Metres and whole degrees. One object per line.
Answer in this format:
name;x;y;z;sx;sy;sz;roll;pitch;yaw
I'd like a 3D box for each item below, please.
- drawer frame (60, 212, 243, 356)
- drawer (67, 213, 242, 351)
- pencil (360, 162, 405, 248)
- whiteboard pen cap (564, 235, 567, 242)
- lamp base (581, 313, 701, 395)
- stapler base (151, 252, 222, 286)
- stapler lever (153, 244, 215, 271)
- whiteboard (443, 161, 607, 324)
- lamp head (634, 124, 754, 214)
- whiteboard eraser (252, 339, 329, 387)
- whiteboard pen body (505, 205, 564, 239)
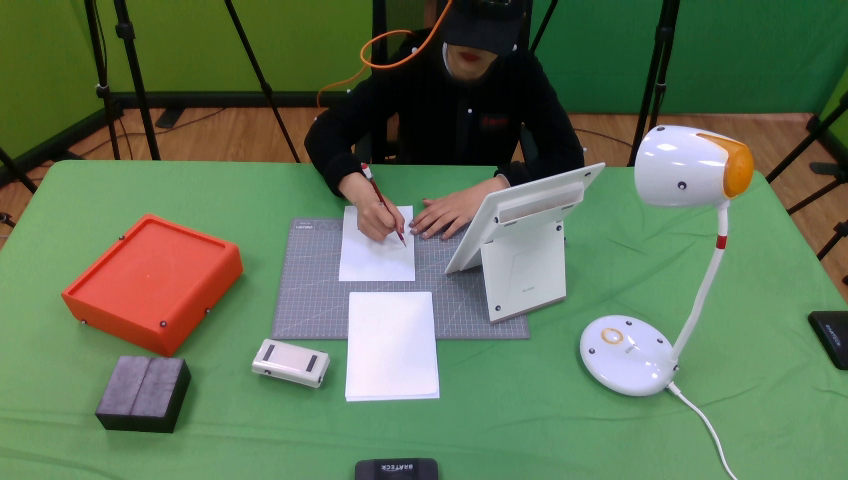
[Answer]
drawer frame;-0.462;0.070;1.053;0.201;0.083;0.213;18;48;12
drawer;-0.461;0.068;1.056;0.194;0.073;0.211;19;48;13
pencil;-0.075;-0.063;1.141;0.012;0.195;0.012;-20;27;11
whiteboard pen cap;0.271;-0.008;1.225;0.033;0.018;0.018;34;53;23
lamp base;0.361;0.144;0.973;0.178;0.181;0.160;34;53;23
stapler base;-0.432;0.047;1.102;0.130;0.024;0.041;16;33;12
stapler lever;-0.430;0.025;1.088;0.118;0.040;0.027;16;33;12
whiteboard;0.185;0.026;1.028;0.217;0.306;0.143;-15;68;-18
lamp head;0.351;-0.089;0.776;0.112;0.113;0.122;-30;30;-28
whiteboard eraser;-0.215;0.199;0.976;0.112;0.042;0.055;12;45;7
whiteboard pen body;0.227;-0.037;1.250;0.140;0.017;0.017;31;52;24
